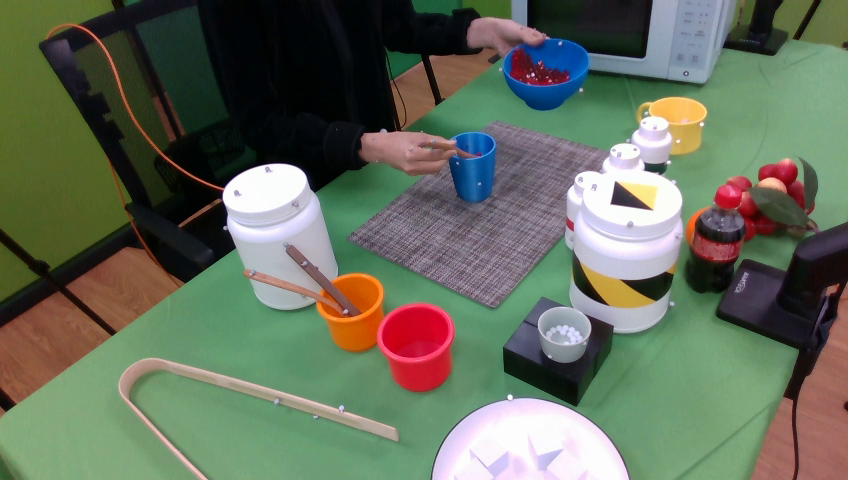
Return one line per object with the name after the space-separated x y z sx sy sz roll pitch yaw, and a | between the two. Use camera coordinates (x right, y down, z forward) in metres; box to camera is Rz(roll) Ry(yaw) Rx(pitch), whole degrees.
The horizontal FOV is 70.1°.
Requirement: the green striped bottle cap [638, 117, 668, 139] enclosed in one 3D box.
0.369 -0.180 0.974 0.044 0.020 0.044 -4 41 4 | green striped bottle cap

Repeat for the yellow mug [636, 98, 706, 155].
0.453 -0.217 1.128 0.100 0.064 0.129 -34 46 -27 | yellow mug

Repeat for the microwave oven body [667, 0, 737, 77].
0.462 -0.552 1.368 0.439 0.261 0.326 14 45 26 | microwave oven body

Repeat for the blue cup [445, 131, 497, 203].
0.084 -0.121 1.038 0.092 0.100 0.092 -4 42 4 | blue cup

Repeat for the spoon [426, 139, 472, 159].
0.050 -0.139 0.957 0.041 0.195 0.021 -9 81 28 | spoon

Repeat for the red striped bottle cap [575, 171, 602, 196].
0.242 -0.082 0.876 0.044 0.018 0.044 -5 44 5 | red striped bottle cap

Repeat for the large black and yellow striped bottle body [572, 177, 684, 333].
0.262 0.017 0.788 0.131 0.185 0.130 -5 40 4 | large black and yellow striped bottle body

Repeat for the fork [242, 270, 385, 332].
-0.142 0.082 0.802 0.209 0.018 0.028 28 38 -26 | fork

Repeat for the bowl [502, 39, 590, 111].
0.216 -0.284 1.078 0.151 0.077 0.150 -5 47 6 | bowl

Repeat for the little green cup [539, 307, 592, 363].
0.169 0.115 0.721 0.061 0.039 0.061 -4 42 4 | little green cup

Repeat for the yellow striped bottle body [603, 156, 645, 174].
0.313 -0.089 0.956 0.063 0.121 0.062 -4 39 4 | yellow striped bottle body

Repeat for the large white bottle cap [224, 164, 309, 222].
-0.215 -0.066 0.829 0.115 0.018 0.114 -4 40 4 | large white bottle cap

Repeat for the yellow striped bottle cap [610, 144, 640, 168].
0.307 -0.128 0.923 0.044 0.019 0.044 -5 40 5 | yellow striped bottle cap

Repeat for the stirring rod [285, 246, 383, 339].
-0.121 0.071 0.819 0.176 0.006 0.014 44 52 -6 | stirring rod

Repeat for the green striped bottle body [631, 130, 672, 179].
0.375 -0.140 1.007 0.063 0.120 0.063 -5 40 4 | green striped bottle body

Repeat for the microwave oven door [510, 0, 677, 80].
0.354 -0.478 1.291 0.353 0.245 0.039 15 45 25 | microwave oven door

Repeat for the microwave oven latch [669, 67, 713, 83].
0.556 -0.349 1.261 0.078 0.029 0.030 16 46 27 | microwave oven latch

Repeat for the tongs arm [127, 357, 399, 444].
-0.213 0.205 0.755 0.382 0.026 0.051 12 46 23 | tongs arm

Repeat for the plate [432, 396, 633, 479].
0.112 0.261 0.634 0.209 0.038 0.208 -5 40 4 | plate

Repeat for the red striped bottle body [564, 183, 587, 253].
0.246 -0.041 0.910 0.063 0.120 0.062 -2 39 2 | red striped bottle body

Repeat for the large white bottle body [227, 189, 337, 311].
-0.207 -0.002 0.883 0.130 0.185 0.130 -4 40 4 | large white bottle body

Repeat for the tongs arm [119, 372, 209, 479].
-0.258 0.257 0.700 0.384 0.028 0.028 24 55 34 | tongs arm

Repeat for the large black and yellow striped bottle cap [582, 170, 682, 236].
0.252 -0.048 0.735 0.115 0.019 0.114 -3 40 3 | large black and yellow striped bottle cap
